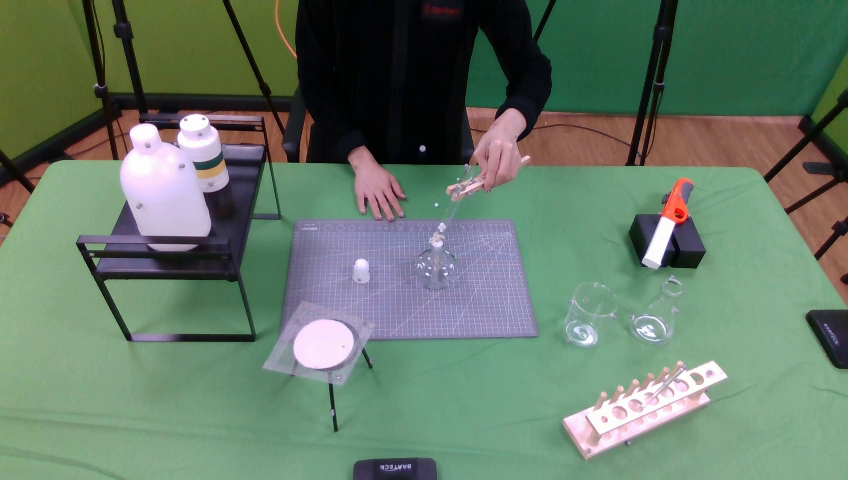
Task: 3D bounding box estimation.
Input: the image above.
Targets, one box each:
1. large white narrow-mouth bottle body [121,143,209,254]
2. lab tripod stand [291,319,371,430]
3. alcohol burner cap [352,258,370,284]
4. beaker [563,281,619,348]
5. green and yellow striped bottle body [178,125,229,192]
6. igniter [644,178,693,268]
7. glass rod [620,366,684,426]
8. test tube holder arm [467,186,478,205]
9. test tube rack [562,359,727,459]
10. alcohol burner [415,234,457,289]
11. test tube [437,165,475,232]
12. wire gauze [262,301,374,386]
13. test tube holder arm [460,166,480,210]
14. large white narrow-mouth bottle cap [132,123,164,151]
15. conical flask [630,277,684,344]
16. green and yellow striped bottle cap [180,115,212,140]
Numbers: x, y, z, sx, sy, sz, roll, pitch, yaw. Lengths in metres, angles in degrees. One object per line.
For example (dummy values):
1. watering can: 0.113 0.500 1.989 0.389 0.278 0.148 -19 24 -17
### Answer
1. large white narrow-mouth bottle body: -0.378 -0.077 0.875 0.102 0.195 0.101 3 46 -3
2. lab tripod stand: -0.146 0.193 0.923 0.148 0.132 0.147 1 47 -1
3. alcohol burner cap: -0.117 0.055 1.118 0.034 0.048 0.033 1 46 -1
4. beaker: 0.283 0.129 1.041 0.074 0.101 0.083 11 46 6
5. green and yellow striped bottle body: -0.361 -0.142 0.989 0.063 0.120 0.063 2 46 -2
6. igniter: 0.488 -0.042 1.204 0.057 0.025 0.276 30 51 11
7. glass rod: 0.322 0.227 0.866 0.008 0.200 0.008 6 51 -7
8. test tube holder arm: 0.079 -0.087 1.033 0.015 0.013 0.177 -19 18 7
9. test tube rack: 0.341 0.247 0.940 0.243 0.085 0.066 -16 49 -18
10. alcohol burner: 0.022 0.033 1.100 0.078 0.120 0.077 1 47 -1
11. test tube: 0.050 -0.064 0.994 0.017 0.151 0.017 12 46 -13
12. wire gauze: -0.150 0.148 0.873 0.121 0.011 0.124 14 46 12
13. test tube holder arm: 0.075 -0.083 0.992 0.015 0.088 0.010 -15 45 8
14. large white narrow-mouth bottle cap: -0.370 -0.138 0.812 0.038 0.024 0.037 3 46 -3
15. conical flask: 0.408 0.117 1.045 0.075 0.122 0.075 2 46 -2
16. green and yellow striped bottle cap: -0.358 -0.177 0.951 0.045 0.020 0.045 1 44 -1
